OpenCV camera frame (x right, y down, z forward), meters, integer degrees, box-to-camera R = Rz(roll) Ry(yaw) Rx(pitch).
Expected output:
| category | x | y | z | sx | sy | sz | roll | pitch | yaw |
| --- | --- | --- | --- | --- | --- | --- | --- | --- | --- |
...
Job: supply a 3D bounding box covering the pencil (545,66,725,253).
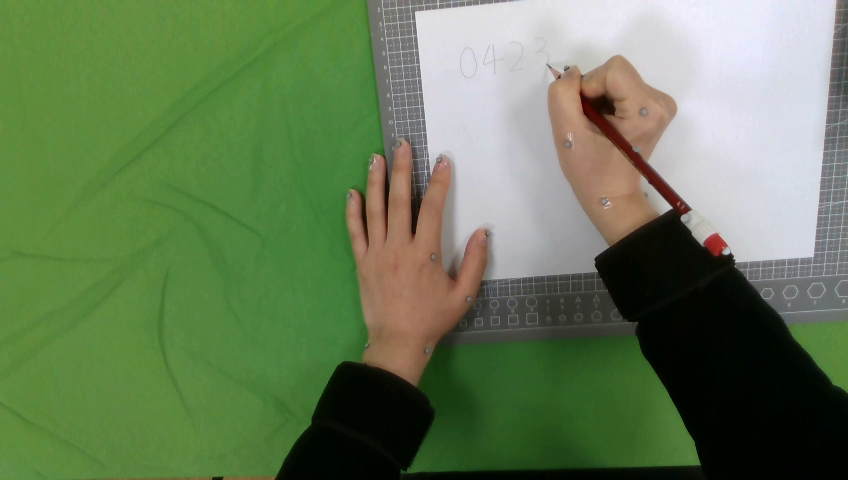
| category | x | y | z | sx | sy | sz | roll | pitch | yaw |
| --- | --- | --- | --- | --- | --- | --- | --- | --- | --- |
| pencil | 0.126 | -0.062 | 0.390 | 0.012 | 0.192 | 0.012 | -17 | 141 | -14 |
